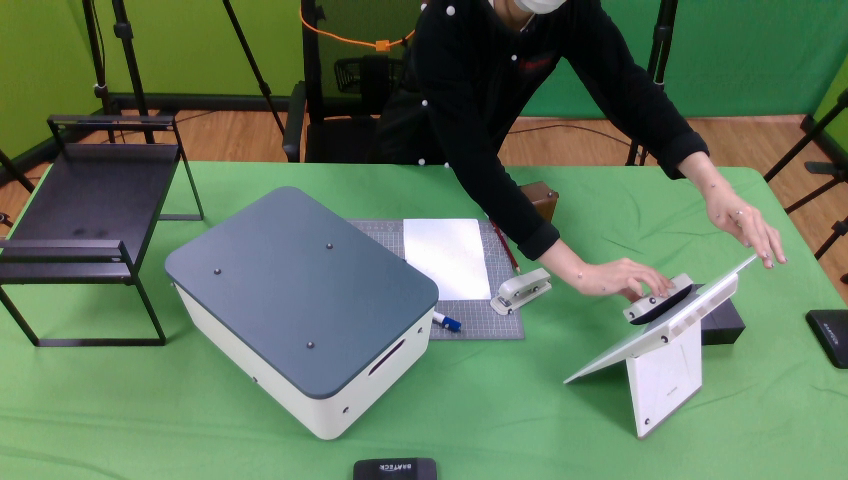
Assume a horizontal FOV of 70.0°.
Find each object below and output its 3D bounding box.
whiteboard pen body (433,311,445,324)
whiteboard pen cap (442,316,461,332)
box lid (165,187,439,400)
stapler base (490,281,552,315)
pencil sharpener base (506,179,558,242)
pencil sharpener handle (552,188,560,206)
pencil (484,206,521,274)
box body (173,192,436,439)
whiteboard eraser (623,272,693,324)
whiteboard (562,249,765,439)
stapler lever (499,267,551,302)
[{"bbox_3d":[-0.004,0.123,1.074,0.140,0.017,0.017,24,49,15],"label":"whiteboard pen body"},{"bbox_3d":[0.048,0.147,1.060,0.033,0.018,0.018,24,49,16],"label":"whiteboard pen cap"},{"bbox_3d":[-0.186,0.060,0.925,0.370,0.015,0.263,32,53,25],"label":"box lid"},{"bbox_3d":[0.181,0.094,1.118,0.130,0.024,0.041,-24,57,-29],"label":"stapler base"},{"bbox_3d":[0.216,-0.059,1.211,0.077,0.107,0.061,-16,49,-19],"label":"pencil sharpener base"},{"bbox_3d":[0.261,-0.084,1.221,0.031,0.068,0.036,-16,64,-19],"label":"pencil sharpener handle"},{"bbox_3d":[0.158,-0.002,1.217,0.012,0.012,0.192,-10,48,-14],"label":"pencil"},{"bbox_3d":[-0.191,0.110,0.979,0.362,0.161,0.254,33,53,24],"label":"box body"},{"bbox_3d":[0.384,0.097,0.988,0.113,0.056,0.041,-29,74,-18],"label":"whiteboard eraser"},{"bbox_3d":[0.386,0.176,0.905,0.217,0.306,0.143,-26,72,-26],"label":"whiteboard"},{"bbox_3d":[0.185,0.076,1.101,0.118,0.040,0.026,-24,57,-29],"label":"stapler lever"}]
